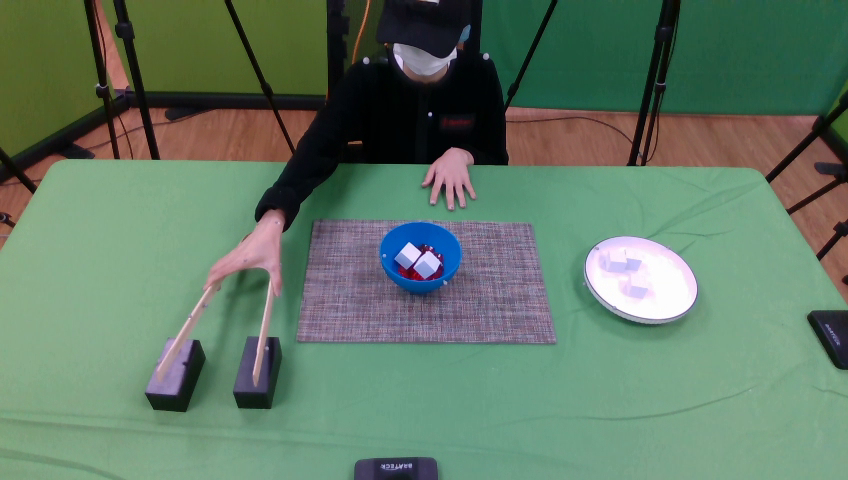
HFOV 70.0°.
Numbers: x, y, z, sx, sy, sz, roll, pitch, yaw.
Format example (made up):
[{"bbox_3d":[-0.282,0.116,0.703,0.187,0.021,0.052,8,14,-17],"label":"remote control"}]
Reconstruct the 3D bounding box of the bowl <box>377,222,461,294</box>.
[{"bbox_3d":[-0.011,0.046,1.109,0.151,0.077,0.150,2,46,-2],"label":"bowl"}]

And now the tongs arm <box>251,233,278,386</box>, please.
[{"bbox_3d":[-0.269,0.098,1.020,0.028,0.028,0.385,-5,33,-5],"label":"tongs arm"}]

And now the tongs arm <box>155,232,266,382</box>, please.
[{"bbox_3d":[-0.343,0.094,1.017,0.051,0.026,0.383,3,32,2],"label":"tongs arm"}]

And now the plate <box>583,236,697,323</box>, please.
[{"bbox_3d":[0.403,0.078,1.144,0.209,0.038,0.208,2,45,-2],"label":"plate"}]
